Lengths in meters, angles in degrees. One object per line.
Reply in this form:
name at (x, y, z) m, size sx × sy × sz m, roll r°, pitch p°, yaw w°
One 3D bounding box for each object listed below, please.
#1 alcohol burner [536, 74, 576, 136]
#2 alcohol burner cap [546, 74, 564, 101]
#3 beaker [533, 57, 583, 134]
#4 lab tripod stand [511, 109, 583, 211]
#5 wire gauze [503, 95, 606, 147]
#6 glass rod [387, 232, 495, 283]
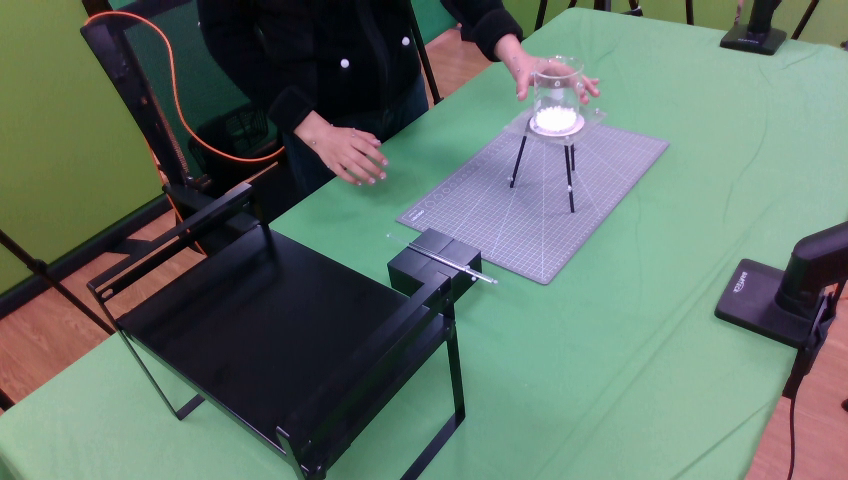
alcohol burner at (0.255, -0.264, 1.173) m, size 0.078 × 0.119 × 0.077 m, roll -6°, pitch 40°, yaw 6°
alcohol burner cap at (0.251, -0.293, 1.151) m, size 0.034 × 0.048 × 0.033 m, roll 0°, pitch 41°, yaw 1°
beaker at (0.208, -0.225, 0.941) m, size 0.073 × 0.101 × 0.084 m, roll 11°, pitch 44°, yaw 20°
lab tripod stand at (0.220, -0.138, 1.014) m, size 0.148 × 0.132 × 0.147 m, roll -3°, pitch 41°, yaw 3°
wire gauze at (0.212, -0.191, 0.976) m, size 0.120 × 0.011 × 0.125 m, roll 24°, pitch 52°, yaw 33°
glass rod at (0.020, 0.025, 0.880) m, size 0.198 × 0.008 × 0.008 m, roll 24°, pitch 49°, yaw 32°
